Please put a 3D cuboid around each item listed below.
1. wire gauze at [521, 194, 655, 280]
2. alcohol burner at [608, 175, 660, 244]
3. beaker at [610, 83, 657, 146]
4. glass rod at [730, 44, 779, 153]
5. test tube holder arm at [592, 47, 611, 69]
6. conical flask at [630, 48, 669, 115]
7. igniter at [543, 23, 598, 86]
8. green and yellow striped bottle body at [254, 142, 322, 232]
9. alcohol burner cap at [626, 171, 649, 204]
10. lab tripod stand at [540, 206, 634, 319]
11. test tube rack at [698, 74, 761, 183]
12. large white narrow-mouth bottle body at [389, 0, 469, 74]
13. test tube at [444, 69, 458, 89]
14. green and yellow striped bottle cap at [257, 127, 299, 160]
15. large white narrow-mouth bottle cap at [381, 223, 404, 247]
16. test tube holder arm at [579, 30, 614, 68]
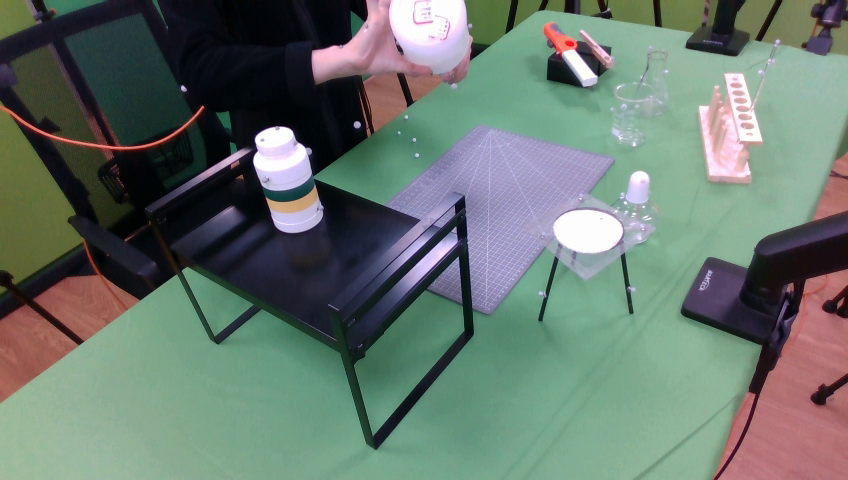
[{"bbox_3d":[0.207,-0.012,0.772,0.122,0.011,0.124,-28,44,-20],"label":"wire gauze"},{"bbox_3d":[0.323,-0.053,0.924,0.078,0.119,0.077,-4,43,4],"label":"alcohol burner"},{"bbox_3d":[0.388,-0.235,1.137,0.074,0.101,0.083,-31,45,-26],"label":"beaker"},{"bbox_3d":[0.555,-0.234,1.020,0.008,0.200,0.008,2,40,-1],"label":"glass rod"},{"bbox_3d":[0.386,-0.398,1.317,0.010,0.015,0.087,-10,41,-2],"label":"test tube holder arm"},{"bbox_3d":[0.457,-0.317,1.205,0.075,0.122,0.075,-4,41,4],"label":"conical flask"},{"bbox_3d":[0.320,-0.419,1.345,0.057,0.025,0.274,-12,44,-3],"label":"igniter"},{"bbox_3d":[-0.165,-0.073,0.732,0.063,0.120,0.063,-4,41,4],"label":"green and yellow striped bottle body"},{"bbox_3d":[0.320,-0.081,0.900,0.034,0.048,0.033,-4,42,4],"label":"alcohol burner cap"},{"bbox_3d":[0.218,0.034,0.821,0.148,0.132,0.147,-4,42,4],"label":"lab tripod stand"},{"bbox_3d":[0.547,-0.208,1.095,0.066,0.085,0.242,5,42,15],"label":"test tube rack"},{"bbox_3d":[0.013,-0.291,0.858,0.102,0.101,0.195,-1,2,7],"label":"large white narrow-mouth bottle body"},{"bbox_3d":[0.042,-0.284,1.026,0.017,0.017,0.150,1,-2,10],"label":"test tube"},{"bbox_3d":[-0.169,-0.112,0.698,0.045,0.020,0.045,-5,40,4],"label":"green and yellow striped bottle cap"},{"bbox_3d":[-0.052,-0.009,0.992,0.038,0.024,0.037,-5,39,4],"label":"large white narrow-mouth bottle cap"},{"bbox_3d":[0.384,-0.428,1.351,0.013,0.015,0.177,-11,41,-4],"label":"test tube holder arm"}]
